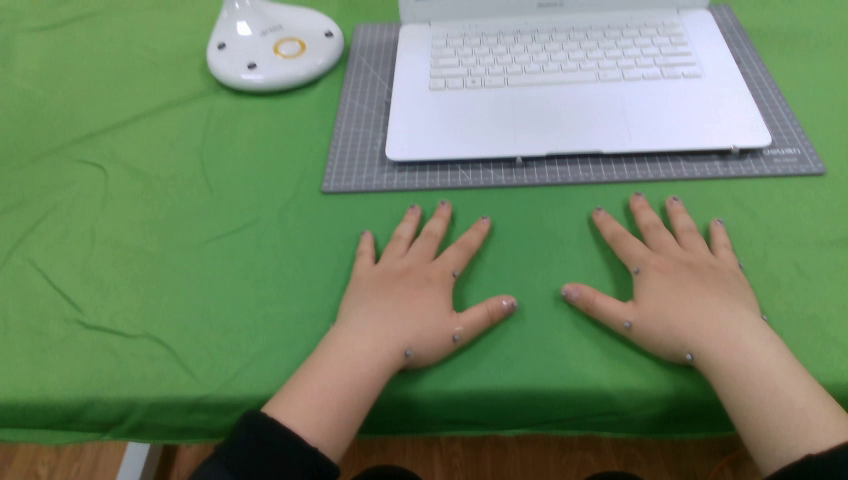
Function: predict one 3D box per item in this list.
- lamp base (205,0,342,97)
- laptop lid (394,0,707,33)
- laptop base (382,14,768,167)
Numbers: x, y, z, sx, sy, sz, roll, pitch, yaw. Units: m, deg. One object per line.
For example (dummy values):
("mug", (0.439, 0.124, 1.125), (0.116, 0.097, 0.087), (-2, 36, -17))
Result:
("lamp base", (-0.193, -0.275, 0.665), (0.177, 0.182, 0.160), (30, 57, 31))
("laptop lid", (0.135, -0.338, 0.634), (0.356, 0.244, 0.013), (-3, 40, 6))
("laptop base", (0.140, -0.158, 0.633), (0.354, 0.023, 0.233), (-2, 51, 5))
